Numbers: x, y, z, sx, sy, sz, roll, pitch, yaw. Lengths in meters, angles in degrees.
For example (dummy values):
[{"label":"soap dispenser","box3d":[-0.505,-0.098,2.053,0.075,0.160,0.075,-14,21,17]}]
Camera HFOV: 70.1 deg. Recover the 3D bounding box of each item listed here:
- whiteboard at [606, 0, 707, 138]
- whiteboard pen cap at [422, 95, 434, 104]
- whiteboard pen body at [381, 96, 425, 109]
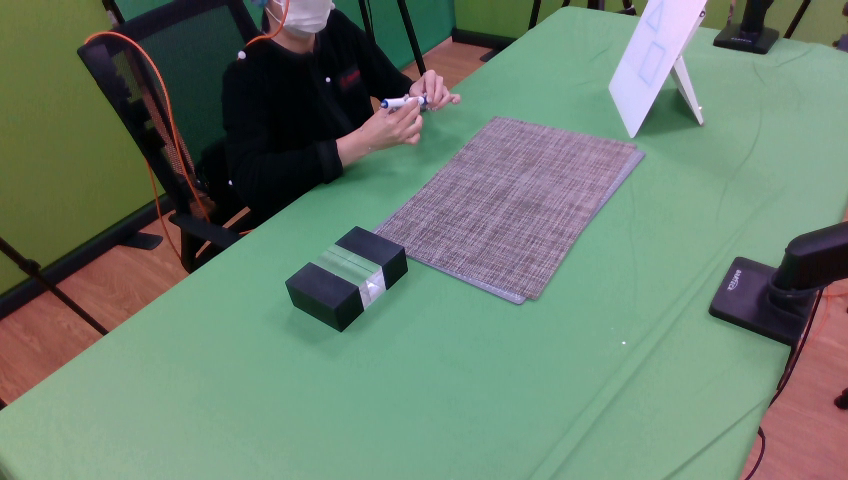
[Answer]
[{"label":"whiteboard","box3d":[0.496,-0.359,1.147,0.144,0.305,0.216,11,40,-7]},{"label":"whiteboard pen cap","box3d":[0.004,-0.272,1.170,0.018,0.018,0.033,19,28,28]},{"label":"whiteboard pen body","box3d":[-0.031,-0.257,1.122,0.017,0.017,0.141,22,26,30]}]
